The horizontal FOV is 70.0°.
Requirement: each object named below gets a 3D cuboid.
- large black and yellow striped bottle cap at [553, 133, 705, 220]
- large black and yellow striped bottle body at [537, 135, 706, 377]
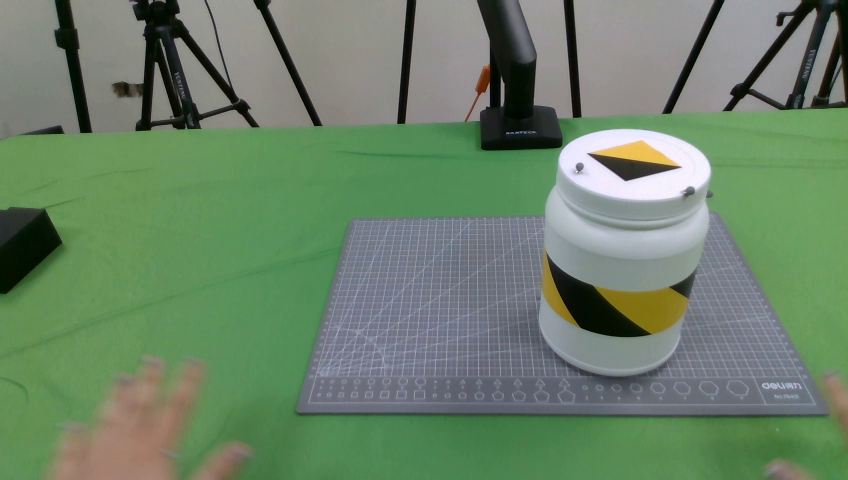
[{"bbox_3d":[0.161,-0.054,0.482,0.115,0.019,0.114,-2,36,2],"label":"large black and yellow striped bottle cap"},{"bbox_3d":[0.168,0.014,0.532,0.131,0.185,0.129,-3,37,3],"label":"large black and yellow striped bottle body"}]
